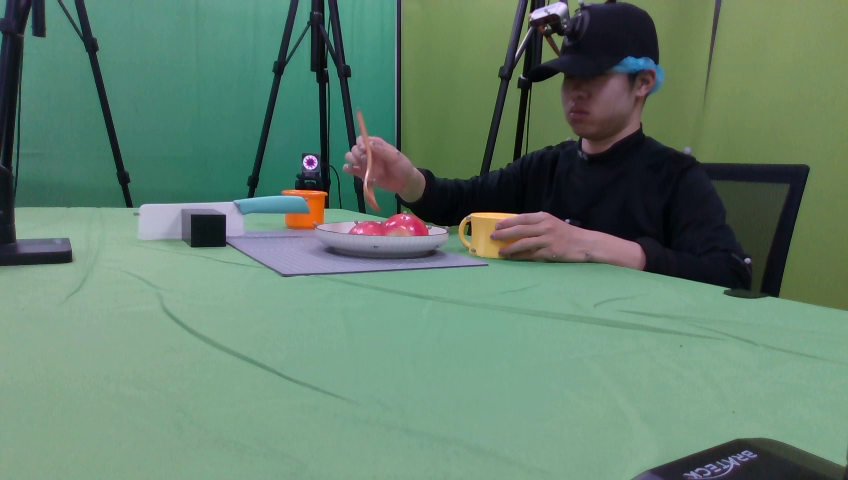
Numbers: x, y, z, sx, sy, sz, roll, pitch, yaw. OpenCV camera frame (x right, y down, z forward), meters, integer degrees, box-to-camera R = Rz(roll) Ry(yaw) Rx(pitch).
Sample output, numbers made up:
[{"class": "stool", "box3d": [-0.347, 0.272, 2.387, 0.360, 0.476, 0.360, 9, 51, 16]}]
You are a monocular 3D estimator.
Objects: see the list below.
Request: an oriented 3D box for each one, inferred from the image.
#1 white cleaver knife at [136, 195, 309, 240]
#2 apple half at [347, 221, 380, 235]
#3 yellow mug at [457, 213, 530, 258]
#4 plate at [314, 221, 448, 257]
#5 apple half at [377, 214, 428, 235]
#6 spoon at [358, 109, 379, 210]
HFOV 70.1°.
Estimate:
[{"class": "white cleaver knife", "box3d": [-0.337, -0.039, 1.037, 0.288, 0.066, 0.021, -6, 15, -29]}, {"class": "apple half", "box3d": [-0.088, -0.014, 0.985, 0.081, 0.033, 0.081, 5, 5, 0]}, {"class": "yellow mug", "box3d": [0.108, -0.011, 0.992, 0.130, 0.064, 0.100, 6, 7, 37]}, {"class": "plate", "box3d": [-0.067, -0.002, 0.948, 0.209, 0.038, 0.209, 3, 7, 0]}, {"class": "apple half", "box3d": [-0.034, -0.013, 0.924, 0.080, 0.053, 0.075, 5, 10, 16]}, {"class": "spoon", "box3d": [-0.092, -0.135, 0.992, 0.021, 0.193, 0.042, -11, -24, 11]}]
